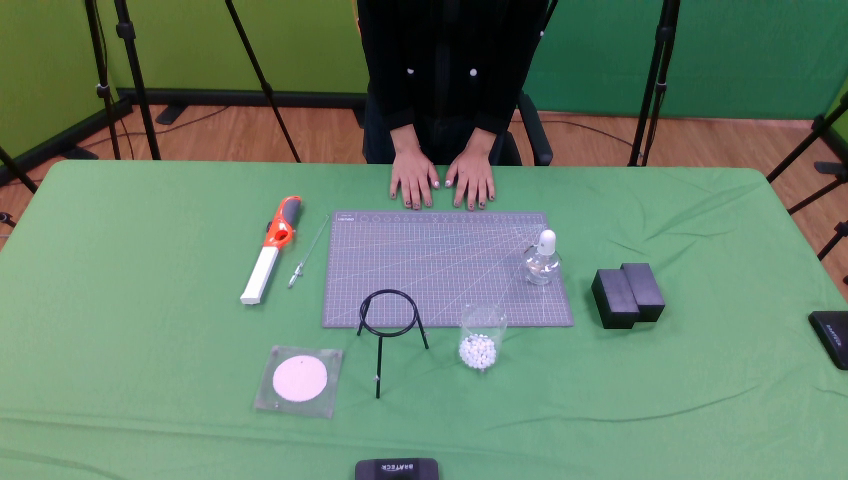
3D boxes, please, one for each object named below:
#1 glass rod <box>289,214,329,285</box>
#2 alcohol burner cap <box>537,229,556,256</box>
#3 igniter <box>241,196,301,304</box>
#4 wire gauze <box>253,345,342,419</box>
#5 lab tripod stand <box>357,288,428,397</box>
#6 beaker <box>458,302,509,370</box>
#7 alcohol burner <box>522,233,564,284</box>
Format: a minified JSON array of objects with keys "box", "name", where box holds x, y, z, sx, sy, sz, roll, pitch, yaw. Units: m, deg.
[{"box":[-0.221,0.014,1.179,0.008,0.008,0.199,12,46,8],"name":"glass rod"},{"box":[0.223,0.001,1.095,0.034,0.048,0.033,-1,44,1],"name":"alcohol burner cap"},{"box":[-0.290,0.010,1.164,0.057,0.025,0.275,0,45,10],"name":"igniter"},{"box":[-0.200,0.224,0.979,0.125,0.011,0.121,7,47,0],"name":"wire gauze"},{"box":[-0.058,0.155,0.967,0.148,0.132,0.147,3,47,-3],"name":"lab tripod stand"},{"box":[0.092,0.159,0.999,0.083,0.101,0.074,35,53,28],"name":"beaker"},{"box":[0.223,0.027,1.121,0.078,0.119,0.077,2,48,-2],"name":"alcohol burner"}]
